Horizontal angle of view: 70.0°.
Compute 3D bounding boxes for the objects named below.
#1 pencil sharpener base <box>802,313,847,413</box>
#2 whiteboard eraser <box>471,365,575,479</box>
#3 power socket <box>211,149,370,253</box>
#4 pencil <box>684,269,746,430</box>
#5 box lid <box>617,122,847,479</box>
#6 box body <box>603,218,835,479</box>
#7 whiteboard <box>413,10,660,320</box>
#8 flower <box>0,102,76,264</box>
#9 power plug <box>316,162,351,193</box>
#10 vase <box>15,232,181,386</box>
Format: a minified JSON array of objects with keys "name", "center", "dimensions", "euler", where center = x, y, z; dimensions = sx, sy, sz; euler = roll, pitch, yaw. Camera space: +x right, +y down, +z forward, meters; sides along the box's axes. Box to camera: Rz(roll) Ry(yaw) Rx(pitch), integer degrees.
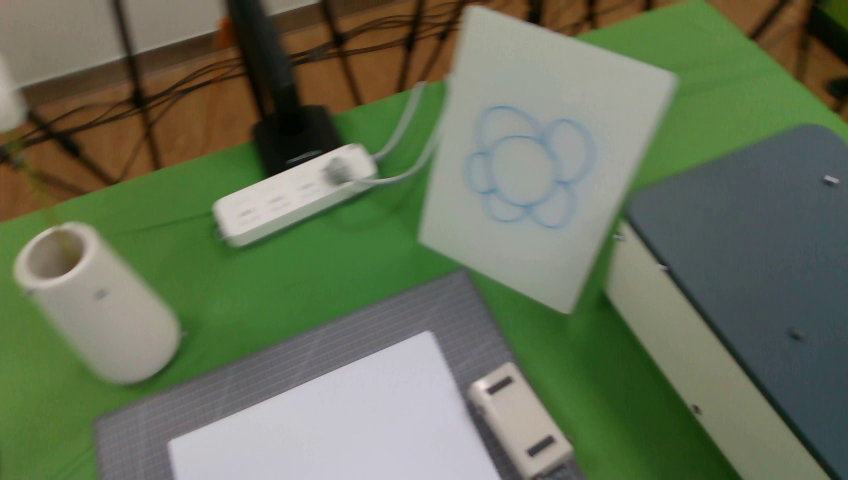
[{"name":"pencil sharpener base","center":[0.445,0.125,0.607],"dimensions":[0.061,0.108,0.076],"euler":[-4,55,0]},{"name":"whiteboard eraser","center":[0.101,0.188,0.624],"dimensions":[0.055,0.042,0.111],"euler":[-26,58,-17]},{"name":"power socket","center":[-0.177,-0.055,0.818],"dimensions":[0.227,0.033,0.071],"euler":[-27,59,-16]},{"name":"pencil","center":[0.326,0.117,0.680],"dimensions":[0.012,0.012,0.192],"euler":[-5,57,0]},{"name":"box lid","center":[0.379,0.044,0.550],"dimensions":[0.263,0.015,0.367],"euler":[-23,58,-13]},{"name":"box body","center":[0.383,0.089,0.610],"dimensions":[0.254,0.162,0.360],"euler":[-23,57,-13]},{"name":"whiteboard","center":[0.132,-0.098,0.704],"dimensions":[0.216,0.308,0.143],"euler":[26,41,20]},{"name":"flower","center":[-0.339,0.013,0.575],"dimensions":[0.038,0.365,0.043],"euler":[-32,41,-26]},{"name":"power plug","center":[-0.119,-0.071,0.798],"dimensions":[0.035,0.053,0.072],"euler":[-18,57,-10]},{"name":"vase","center":[-0.334,0.076,0.631],"dimensions":[0.098,0.202,0.097],"euler":[-2,55,3]}]
